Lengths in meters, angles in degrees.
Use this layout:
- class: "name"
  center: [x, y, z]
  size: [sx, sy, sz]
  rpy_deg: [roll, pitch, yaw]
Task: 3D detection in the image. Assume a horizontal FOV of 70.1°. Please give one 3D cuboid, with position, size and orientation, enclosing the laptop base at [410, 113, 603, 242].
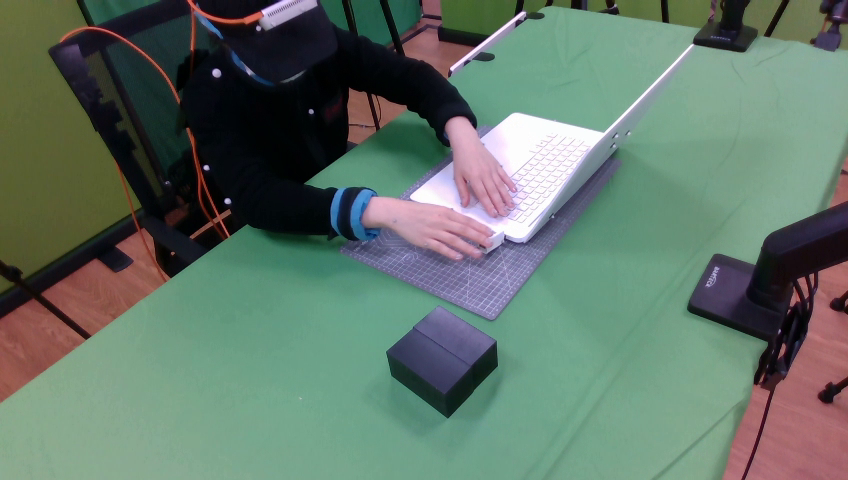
- class: "laptop base"
  center: [0.171, -0.127, 1.096]
  size: [0.233, 0.023, 0.355]
  rpy_deg: [21, 47, 34]

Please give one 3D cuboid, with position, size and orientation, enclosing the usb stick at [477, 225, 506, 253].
- class: "usb stick"
  center: [0.108, -0.004, 0.933]
  size: [0.021, 0.027, 0.059]
  rpy_deg: [26, 38, 35]

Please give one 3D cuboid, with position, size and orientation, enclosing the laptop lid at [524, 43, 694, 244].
- class: "laptop lid"
  center: [0.290, -0.151, 0.941]
  size: [0.013, 0.241, 0.358]
  rpy_deg: [40, 54, 12]
